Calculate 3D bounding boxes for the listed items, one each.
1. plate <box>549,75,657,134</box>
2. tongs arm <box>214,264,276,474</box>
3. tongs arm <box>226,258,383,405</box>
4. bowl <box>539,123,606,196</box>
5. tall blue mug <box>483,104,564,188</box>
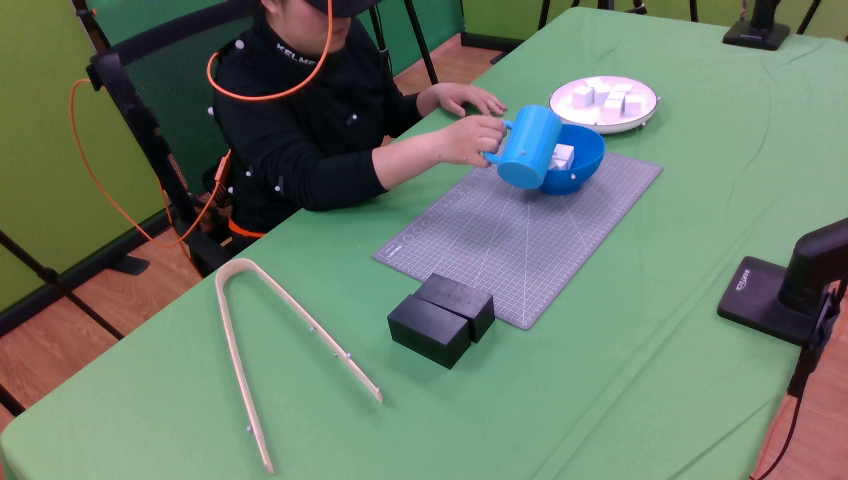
[{"bbox_3d":[0.357,-0.268,1.220,0.209,0.038,0.208,-5,41,5],"label":"plate"},{"bbox_3d":[-0.252,0.158,0.838,0.028,0.028,0.384,-27,43,-8],"label":"tongs arm"},{"bbox_3d":[-0.185,0.121,0.863,0.051,0.027,0.381,-34,45,-20],"label":"tongs arm"},{"bbox_3d":[0.235,-0.131,1.045,0.151,0.077,0.150,-5,40,5],"label":"bowl"},{"bbox_3d":[0.154,-0.154,0.956,0.107,0.077,0.108,24,71,-5],"label":"tall blue mug"}]
